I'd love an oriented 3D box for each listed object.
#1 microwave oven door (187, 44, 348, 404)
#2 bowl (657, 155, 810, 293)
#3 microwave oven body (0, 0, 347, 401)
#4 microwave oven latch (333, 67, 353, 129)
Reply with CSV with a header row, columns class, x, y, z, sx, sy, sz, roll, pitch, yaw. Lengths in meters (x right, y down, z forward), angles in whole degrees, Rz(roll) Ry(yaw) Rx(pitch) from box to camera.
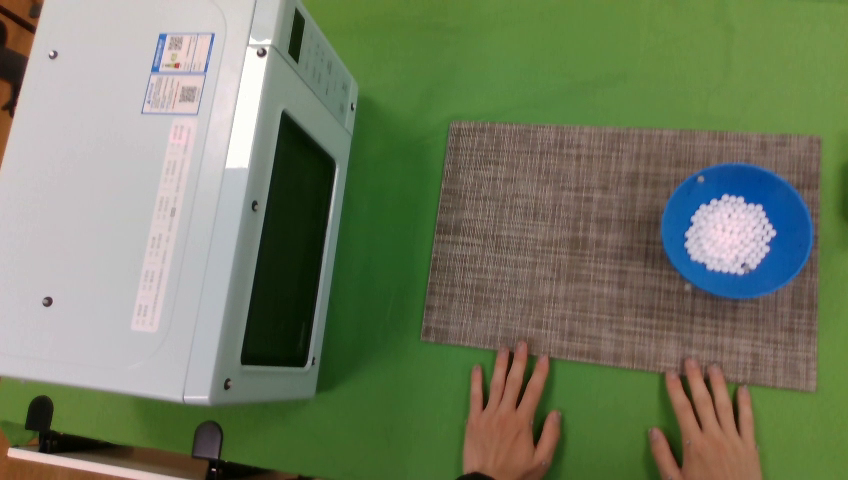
class,x,y,z,sx,sy,sz,roll,pitch,yaw
microwave oven door,-0.162,0.000,0.687,0.039,0.245,0.354,3,79,14
bowl,0.335,-0.010,0.679,0.151,0.077,0.150,-3,78,12
microwave oven body,-0.298,-0.049,0.732,0.325,0.262,0.440,4,80,13
microwave oven latch,-0.115,-0.193,0.822,0.030,0.030,0.079,4,80,13
